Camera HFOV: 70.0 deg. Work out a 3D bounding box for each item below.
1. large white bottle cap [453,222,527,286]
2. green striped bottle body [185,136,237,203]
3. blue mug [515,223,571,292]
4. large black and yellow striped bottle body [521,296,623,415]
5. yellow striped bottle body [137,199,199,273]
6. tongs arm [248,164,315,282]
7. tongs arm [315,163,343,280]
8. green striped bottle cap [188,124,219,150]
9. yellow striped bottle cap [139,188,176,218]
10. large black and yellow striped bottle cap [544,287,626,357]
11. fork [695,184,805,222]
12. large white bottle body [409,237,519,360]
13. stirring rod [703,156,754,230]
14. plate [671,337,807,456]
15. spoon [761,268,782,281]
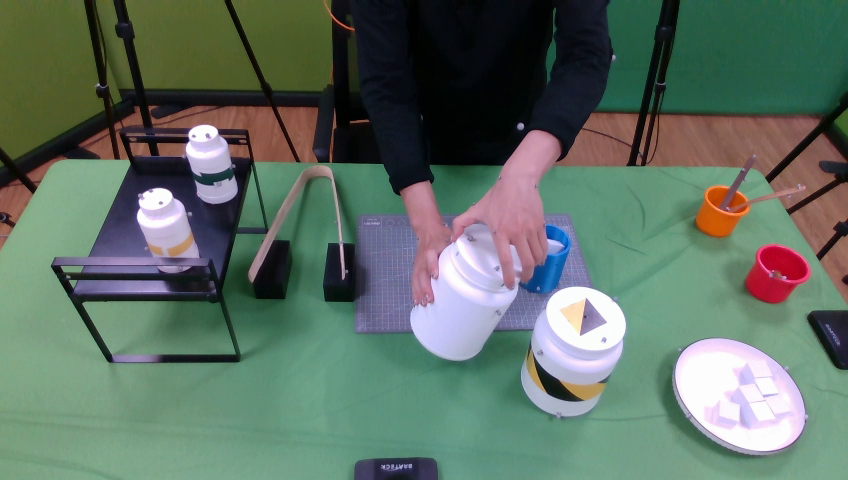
[{"bbox_3d":[0.098,0.019,0.886,0.115,0.018,0.114,17,41,-15],"label":"large white bottle cap"},{"bbox_3d":[-0.341,-0.122,0.968,0.063,0.120,0.063,2,46,-2],"label":"green striped bottle body"},{"bbox_3d":[0.203,0.032,1.121,0.116,0.106,0.082,5,47,1],"label":"blue mug"},{"bbox_3d":[0.228,0.173,0.937,0.131,0.185,0.130,2,47,-2],"label":"large black and yellow striped bottle body"},{"bbox_3d":[-0.366,-0.014,0.863,0.063,0.121,0.062,2,46,-2],"label":"yellow striped bottle body"},{"bbox_3d":[-0.269,-0.047,1.166,0.028,0.028,0.385,-1,34,7],"label":"tongs arm"},{"bbox_3d":[-0.188,-0.049,1.170,0.051,0.026,0.382,-6,35,-6],"label":"tongs arm"},{"bbox_3d":[-0.339,-0.158,0.931,0.044,0.020,0.044,4,46,-4],"label":"green striped bottle cap"},{"bbox_3d":[-0.363,-0.051,0.826,0.044,0.019,0.044,1,48,0],"label":"yellow striped bottle cap"},{"bbox_3d":[0.232,0.116,0.876,0.115,0.019,0.114,2,46,-1],"label":"large black and yellow striped bottle cap"},{"bbox_3d":[0.657,-0.075,1.230,0.207,0.019,0.028,-23,34,37],"label":"fork"},{"bbox_3d":[0.066,0.083,0.939,0.131,0.185,0.130,16,39,-13],"label":"large white bottle body"},{"bbox_3d":[0.632,-0.097,1.257,0.014,0.006,0.176,33,95,28],"label":"stirring rod"},{"bbox_3d":[0.503,0.254,0.984,0.208,0.039,0.206,2,46,-2],"label":"plate"},{"bbox_3d":[0.638,0.060,1.105,0.041,0.021,0.194,38,11,24],"label":"spoon"}]
